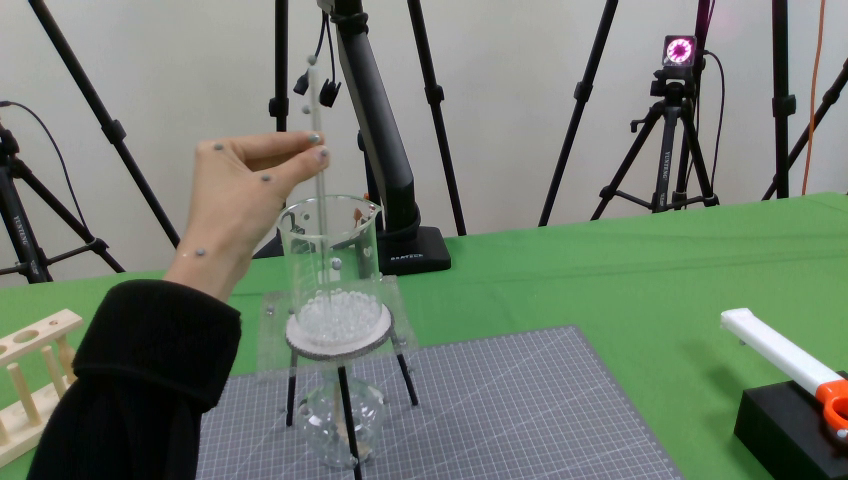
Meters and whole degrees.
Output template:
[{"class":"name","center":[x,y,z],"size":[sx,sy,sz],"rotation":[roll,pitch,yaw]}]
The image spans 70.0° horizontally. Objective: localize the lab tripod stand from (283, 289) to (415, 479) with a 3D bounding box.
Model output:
[{"class":"lab tripod stand","center":[-0.065,0.123,0.525],"size":[0.148,0.132,0.147],"rotation":[-1,28,1]}]

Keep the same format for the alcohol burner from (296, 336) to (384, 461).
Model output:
[{"class":"alcohol burner","center":[-0.074,0.133,0.528],"size":[0.078,0.120,0.077],"rotation":[-1,27,1]}]

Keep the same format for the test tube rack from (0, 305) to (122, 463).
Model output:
[{"class":"test tube rack","center":[-0.416,0.159,0.548],"size":[0.066,0.086,0.242],"rotation":[16,33,32]}]

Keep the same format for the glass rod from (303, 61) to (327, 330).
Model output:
[{"class":"glass rod","center":[-0.080,-0.027,0.443],"size":[0.008,0.200,0.008],"rotation":[-1,15,1]}]

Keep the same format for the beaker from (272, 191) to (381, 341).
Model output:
[{"class":"beaker","center":[-0.069,0.021,0.473],"size":[0.084,0.101,0.073],"rotation":[-18,33,-27]}]

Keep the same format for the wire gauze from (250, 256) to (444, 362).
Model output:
[{"class":"wire gauze","center":[-0.065,0.052,0.484],"size":[0.125,0.011,0.120],"rotation":[-13,27,-28]}]

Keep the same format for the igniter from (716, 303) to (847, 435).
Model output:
[{"class":"igniter","center":[0.339,0.125,0.497],"size":[0.057,0.025,0.274],"rotation":[-8,24,-9]}]
